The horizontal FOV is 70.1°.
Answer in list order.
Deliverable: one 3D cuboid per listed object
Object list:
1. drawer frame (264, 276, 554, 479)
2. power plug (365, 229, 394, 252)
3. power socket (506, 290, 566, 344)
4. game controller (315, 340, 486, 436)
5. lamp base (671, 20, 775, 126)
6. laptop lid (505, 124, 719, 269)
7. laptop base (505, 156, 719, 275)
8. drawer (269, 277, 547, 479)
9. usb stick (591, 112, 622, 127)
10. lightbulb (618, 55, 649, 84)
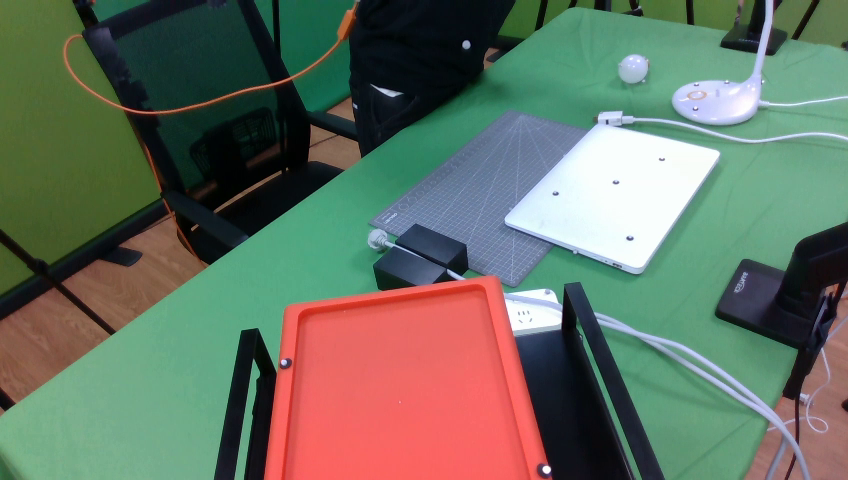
[{"bbox_3d":[-0.016,0.137,0.490,0.202,0.083,0.212,-8,41,-2],"label":"drawer frame"},{"bbox_3d":[-0.067,0.010,0.954,0.035,0.053,0.072,-41,52,1],"label":"power plug"},{"bbox_3d":[0.082,0.112,0.822,0.227,0.033,0.072,-7,41,0],"label":"power socket"},{"bbox_3d":[-0.021,0.119,0.533,0.155,0.052,0.096,-3,39,1],"label":"game controller"},{"bbox_3d":[0.582,-0.332,1.153,0.179,0.181,0.160,2,42,7],"label":"lamp base"},{"bbox_3d":[0.323,-0.093,1.021,0.240,0.013,0.358,23,49,32],"label":"laptop lid"},{"bbox_3d":[0.326,-0.083,1.028,0.233,0.023,0.355,21,48,32],"label":"laptop base"},{"bbox_3d":[-0.018,0.137,0.493,0.195,0.073,0.210,-7,41,-1],"label":"drawer"},{"bbox_3d":[0.360,-0.238,1.196,0.059,0.021,0.027,5,39,26],"label":"usb stick"},{"bbox_3d":[0.464,-0.376,1.324,0.059,0.059,0.108,22,34,30],"label":"lightbulb"}]
